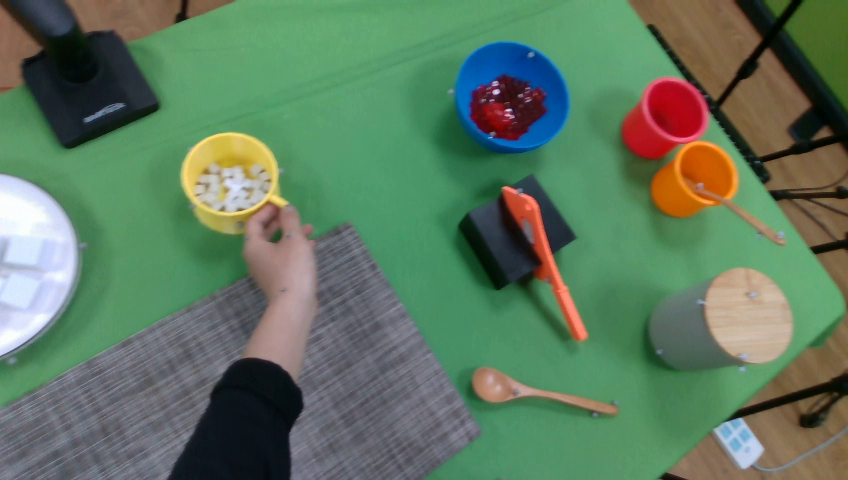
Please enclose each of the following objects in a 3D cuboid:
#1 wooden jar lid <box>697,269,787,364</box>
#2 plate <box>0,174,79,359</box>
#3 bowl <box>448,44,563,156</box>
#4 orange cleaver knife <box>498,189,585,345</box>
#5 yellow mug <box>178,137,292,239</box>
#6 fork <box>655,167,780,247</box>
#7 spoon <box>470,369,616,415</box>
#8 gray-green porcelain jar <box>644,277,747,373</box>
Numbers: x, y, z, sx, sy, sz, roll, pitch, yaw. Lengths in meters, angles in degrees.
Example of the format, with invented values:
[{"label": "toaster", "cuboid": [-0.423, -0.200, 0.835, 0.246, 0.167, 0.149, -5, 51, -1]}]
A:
[{"label": "wooden jar lid", "cuboid": [0.354, 0.086, 0.681, 0.109, 0.021, 0.107, 3, 73, -10]}, {"label": "plate", "cuboid": [-0.470, 0.031, 0.628, 0.208, 0.039, 0.206, 4, 73, -11]}, {"label": "bowl", "cuboid": [0.097, -0.169, 0.795, 0.152, 0.077, 0.150, 4, 73, -11]}, {"label": "orange cleaver knife", "cuboid": [0.142, 0.033, 0.741, 0.012, 0.077, 0.212, -29, 105, -15]}, {"label": "yellow mug", "cuboid": [-0.211, -0.052, 0.697, 0.131, 0.064, 0.099, 27, 68, -4]}, {"label": "fork", "cuboid": [0.373, -0.046, 0.781, 0.028, 0.019, 0.205, -17, 34, -15]}, {"label": "spoon", "cuboid": [0.144, 0.189, 0.726, 0.194, 0.022, 0.041, 13, 53, -9]}, {"label": "gray-green porcelain jar", "cuboid": [0.342, 0.106, 0.741, 0.106, 0.127, 0.105, 4, 72, -11]}]
